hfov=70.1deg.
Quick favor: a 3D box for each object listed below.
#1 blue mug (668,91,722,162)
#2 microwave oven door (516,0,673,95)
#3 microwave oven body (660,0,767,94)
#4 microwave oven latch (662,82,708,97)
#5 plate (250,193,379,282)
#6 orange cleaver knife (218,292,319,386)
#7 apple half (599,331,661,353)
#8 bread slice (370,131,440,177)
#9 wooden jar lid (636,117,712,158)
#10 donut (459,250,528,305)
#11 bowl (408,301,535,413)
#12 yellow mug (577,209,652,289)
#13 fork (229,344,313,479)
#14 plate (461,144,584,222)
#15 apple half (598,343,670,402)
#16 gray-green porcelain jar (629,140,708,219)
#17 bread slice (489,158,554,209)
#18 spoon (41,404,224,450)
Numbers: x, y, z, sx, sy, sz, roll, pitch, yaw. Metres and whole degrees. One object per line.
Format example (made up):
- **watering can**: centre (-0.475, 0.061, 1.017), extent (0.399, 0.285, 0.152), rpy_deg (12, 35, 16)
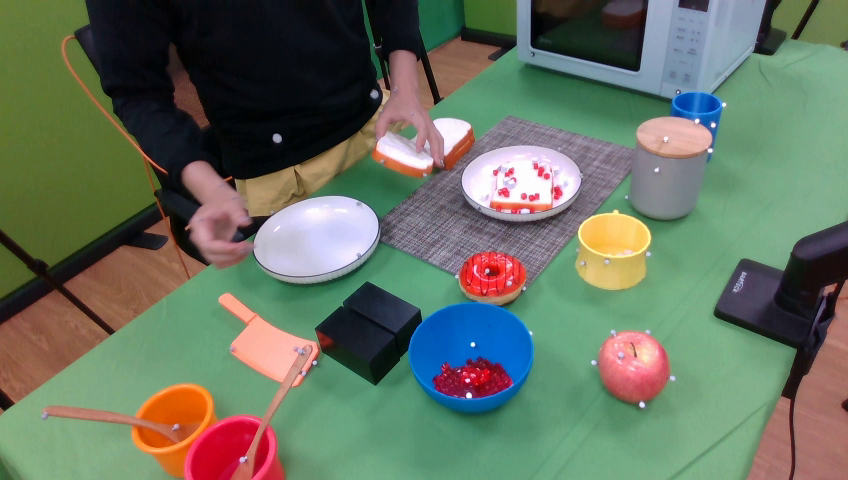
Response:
- **blue mug**: centre (0.474, -0.206, 1.079), extent (0.082, 0.106, 0.116), rpy_deg (4, 42, 13)
- **microwave oven door**: centre (0.344, -0.458, 1.256), extent (0.353, 0.245, 0.039), rpy_deg (26, 51, 33)
- **microwave oven body**: centre (0.473, -0.517, 1.313), extent (0.438, 0.261, 0.327), rpy_deg (26, 51, 34)
- **microwave oven latch**: centre (0.518, -0.298, 1.203), extent (0.078, 0.029, 0.030), rpy_deg (28, 53, 35)
- **plate**: centre (-0.174, -0.001, 0.984), extent (0.209, 0.038, 0.208), rpy_deg (-3, 40, 3)
- **orange cleaver knife**: centre (-0.235, 0.136, 0.850), extent (0.209, 0.012, 0.077), rpy_deg (25, 56, 30)
- **apple half**: centre (0.249, 0.134, 0.738), extent (0.081, 0.081, 0.032), rpy_deg (-1, 46, 7)
- **bread slice**: centre (-0.035, -0.142, 0.995), extent (0.107, 0.018, 0.134), rpy_deg (23, 24, 4)
- **wooden jar lid**: centre (0.377, -0.151, 0.917), extent (0.108, 0.021, 0.108), rpy_deg (-2, 41, 3)
- **donut**: centre (0.100, 0.053, 0.873), extent (0.099, 0.048, 0.098), rpy_deg (-5, 40, 4)
- **bowl**: centre (0.060, 0.156, 0.739), extent (0.151, 0.077, 0.150), rpy_deg (-4, 40, 4)
- **yellow mug**: centre (0.279, 0.005, 0.893), extent (0.099, 0.064, 0.130), rpy_deg (5, 41, 15)
- **fork**: centre (-0.173, 0.205, 0.662), extent (0.028, 0.019, 0.207), rpy_deg (29, 94, 36)
- **plate**: centre (0.168, -0.095, 1.040), extent (0.207, 0.039, 0.206), rpy_deg (-4, 41, 4)
- **apple half**: centre (0.247, 0.161, 0.710), extent (0.081, 0.075, 0.053), rpy_deg (1, 47, 5)
- **gray-green porcelain jar**: centre (0.383, -0.105, 0.958), extent (0.106, 0.127, 0.105), rpy_deg (-4, 41, 4)
- **bread slice**: centre (0.172, -0.100, 1.046), extent (0.104, 0.019, 0.131), rpy_deg (3, 41, 12)
- **spoon**: centre (-0.321, 0.206, 0.681), extent (0.021, 0.195, 0.041), rpy_deg (-48, 36, 22)
